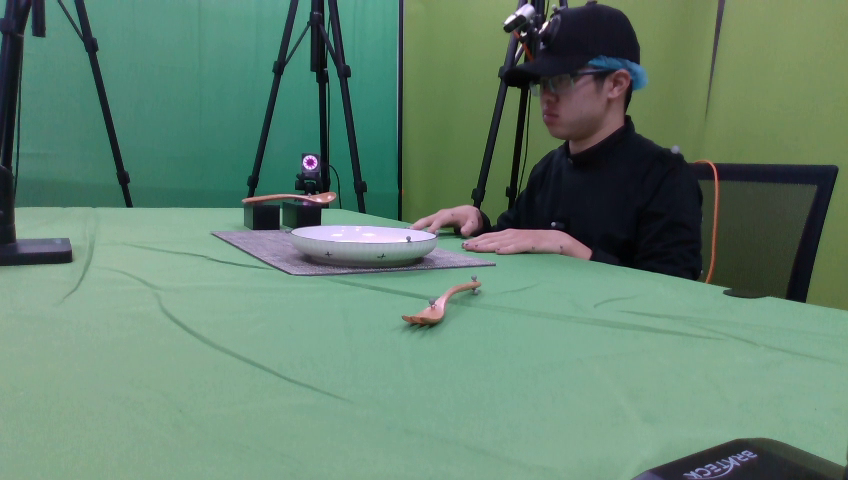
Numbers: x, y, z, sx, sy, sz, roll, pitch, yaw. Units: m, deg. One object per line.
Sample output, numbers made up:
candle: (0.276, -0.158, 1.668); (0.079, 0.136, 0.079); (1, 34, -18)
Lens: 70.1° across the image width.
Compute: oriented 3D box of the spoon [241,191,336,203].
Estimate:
spoon: (-0.271, -0.087, 1.225); (0.195, 0.021, 0.041); (-2, 31, -31)

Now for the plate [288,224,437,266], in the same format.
plate: (-0.086, 0.007, 0.852); (0.208, 0.039, 0.207); (2, 7, 0)

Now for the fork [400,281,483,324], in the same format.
fork: (0.025, 0.057, 0.590); (0.028, 0.018, 0.208); (-2, 7, 21)
